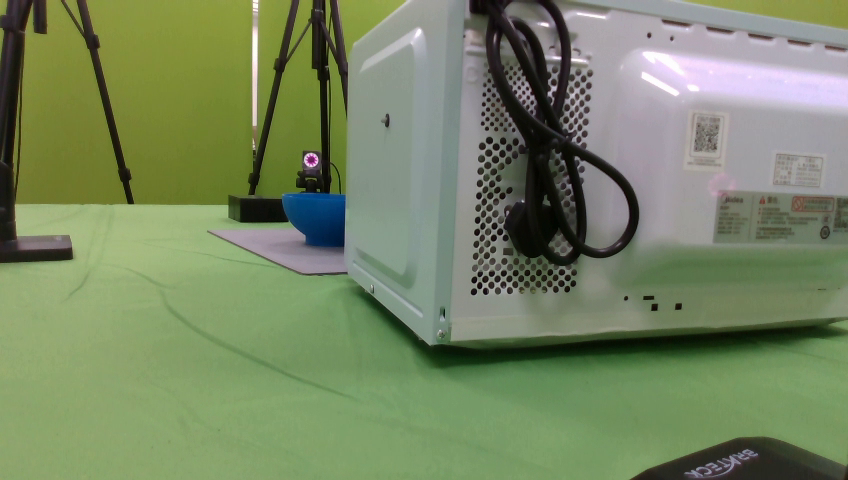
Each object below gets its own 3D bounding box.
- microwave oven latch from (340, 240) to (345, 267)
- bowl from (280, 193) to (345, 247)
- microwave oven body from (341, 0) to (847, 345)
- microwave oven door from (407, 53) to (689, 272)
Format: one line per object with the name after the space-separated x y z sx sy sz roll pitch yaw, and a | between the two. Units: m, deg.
-0.052 0.016 0.661 0.079 0.029 0.030 1 7 -18 | microwave oven latch
-0.153 -0.032 0.969 0.151 0.077 0.151 3 7 0 | bowl
0.169 -0.060 0.573 0.444 0.260 0.324 1 7 -20 | microwave oven body
0.159 -0.085 0.730 0.357 0.243 0.039 0 7 -18 | microwave oven door
